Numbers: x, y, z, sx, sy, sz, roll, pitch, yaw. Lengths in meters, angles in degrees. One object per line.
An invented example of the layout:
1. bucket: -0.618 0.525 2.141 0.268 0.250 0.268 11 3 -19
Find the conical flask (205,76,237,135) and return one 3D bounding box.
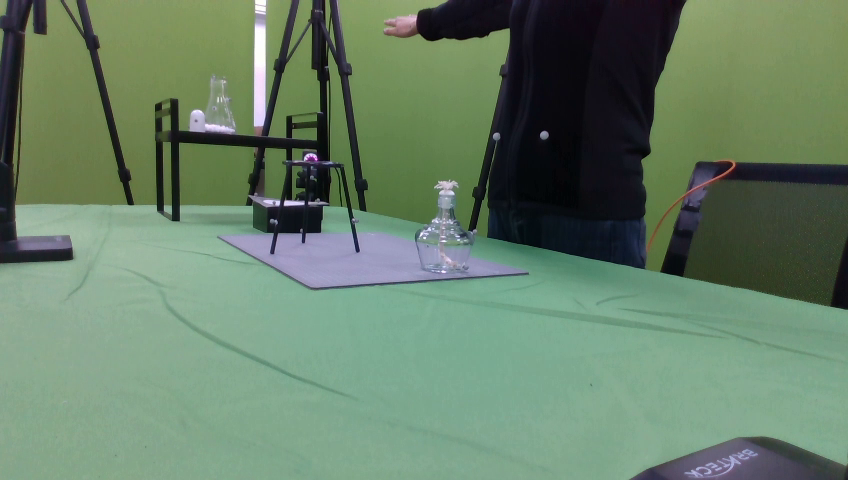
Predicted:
1. conical flask: -0.443 -0.290 1.309 0.075 0.122 0.075 3 7 0

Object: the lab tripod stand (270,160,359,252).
1. lab tripod stand: -0.166 -0.051 0.892 0.148 0.131 0.148 3 9 0

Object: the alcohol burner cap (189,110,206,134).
1. alcohol burner cap: -0.464 -0.242 1.240 0.034 0.048 0.034 5 7 0

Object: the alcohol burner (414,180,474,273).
1. alcohol burner: 0.027 -0.017 0.773 0.078 0.119 0.078 4 6 0

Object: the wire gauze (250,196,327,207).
1. wire gauze: -0.259 -0.073 1.150 0.122 0.011 0.124 0 8 -32
